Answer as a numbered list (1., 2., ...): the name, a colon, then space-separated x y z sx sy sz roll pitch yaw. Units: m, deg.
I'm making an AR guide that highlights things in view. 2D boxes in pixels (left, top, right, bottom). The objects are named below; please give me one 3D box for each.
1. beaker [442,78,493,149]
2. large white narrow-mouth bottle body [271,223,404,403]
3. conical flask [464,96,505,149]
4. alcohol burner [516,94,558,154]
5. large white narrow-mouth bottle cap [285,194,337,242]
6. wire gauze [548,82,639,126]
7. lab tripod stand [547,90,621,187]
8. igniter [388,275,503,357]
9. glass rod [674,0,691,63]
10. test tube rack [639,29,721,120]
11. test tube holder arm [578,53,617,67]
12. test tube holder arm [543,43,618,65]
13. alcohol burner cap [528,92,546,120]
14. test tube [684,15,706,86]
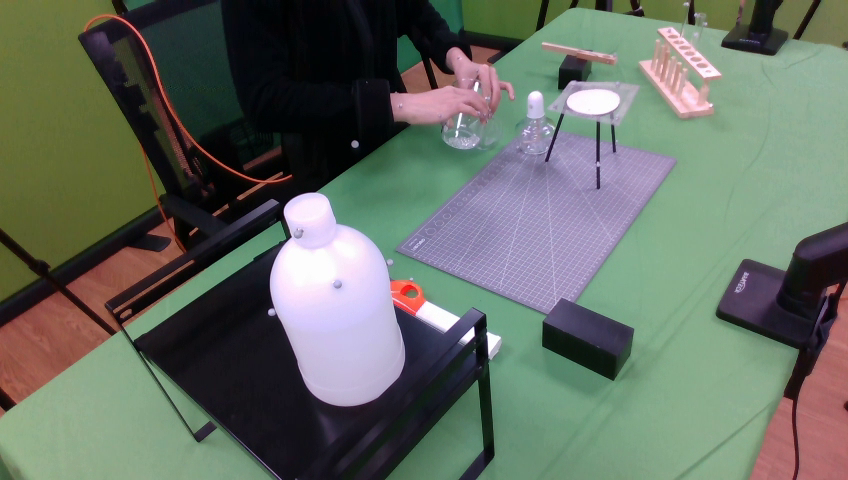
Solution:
1. beaker: 0.074 -0.213 1.037 0.073 0.084 0.100 6 66 17
2. large white narrow-mouth bottle body: -0.077 0.048 0.525 0.102 0.195 0.101 -5 40 4
3. conical flask: 0.108 -0.228 1.147 0.075 0.122 0.075 -4 75 16
4. alcohol burner: 0.212 -0.222 1.135 0.078 0.119 0.077 -5 43 5
5. large white narrow-mouth bottle cap: -0.087 -0.018 0.467 0.038 0.024 0.037 -4 40 4
6. wire gauze: 0.286 -0.235 1.019 0.124 0.011 0.121 16 46 28
7. lab tripod stand: 0.289 -0.184 1.062 0.148 0.132 0.147 -6 41 6
8. igniter: -0.008 0.093 0.870 0.274 0.025 0.057 24 60 33
9. glass rod: 0.537 -0.437 1.257 0.008 0.200 0.008 0 39 1
10. test tube rack: 0.527 -0.351 1.262 0.067 0.085 0.241 -8 40 1
11. test tube holder arm: 0.376 -0.393 1.314 0.087 0.015 0.010 26 51 32
12. test tube holder arm: 0.344 -0.413 1.340 0.177 0.015 0.013 25 51 31
13. alcohol burner cap: 0.206 -0.249 1.112 0.034 0.048 0.033 -6 35 5
14. test tube: 0.541 -0.378 1.216 0.017 0.151 0.017 -2 44 3
